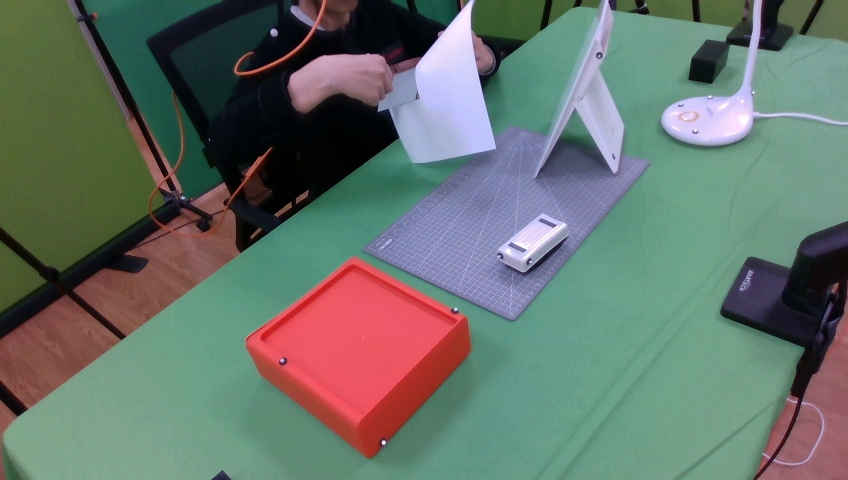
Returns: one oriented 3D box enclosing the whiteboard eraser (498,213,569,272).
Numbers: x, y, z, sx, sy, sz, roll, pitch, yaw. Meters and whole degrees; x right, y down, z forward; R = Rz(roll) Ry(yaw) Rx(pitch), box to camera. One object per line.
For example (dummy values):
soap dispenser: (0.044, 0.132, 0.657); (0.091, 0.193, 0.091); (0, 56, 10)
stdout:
whiteboard eraser: (0.168, 0.006, 0.923); (0.113, 0.042, 0.055); (-36, 48, -28)

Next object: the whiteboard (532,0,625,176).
whiteboard: (0.320, -0.259, 1.050); (0.144, 0.306, 0.217); (21, 45, 5)

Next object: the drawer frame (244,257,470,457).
drawer frame: (-0.084, 0.138, 0.788); (0.212, 0.083, 0.202); (25, 50, 33)

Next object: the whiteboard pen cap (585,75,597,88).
whiteboard pen cap: (0.362, -0.343, 1.310); (0.018, 0.018, 0.033); (19, 54, 29)

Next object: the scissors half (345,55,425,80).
scissors half: (-0.063, -0.303, 1.046); (0.176, 0.040, 0.012); (-18, -1, -39)

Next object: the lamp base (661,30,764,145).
lamp base: (0.535, -0.287, 1.096); (0.179, 0.181, 0.159); (-10, 40, -4)

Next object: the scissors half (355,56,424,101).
scissors half: (-0.054, -0.284, 1.049); (0.012, 0.040, 0.175); (-11, 26, 50)

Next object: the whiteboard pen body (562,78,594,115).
whiteboard pen body: (0.328, -0.306, 1.277); (0.017, 0.017, 0.141); (20, 52, 30)

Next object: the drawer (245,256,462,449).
drawer: (-0.089, 0.136, 0.792); (0.210, 0.073, 0.195); (26, 51, 34)
